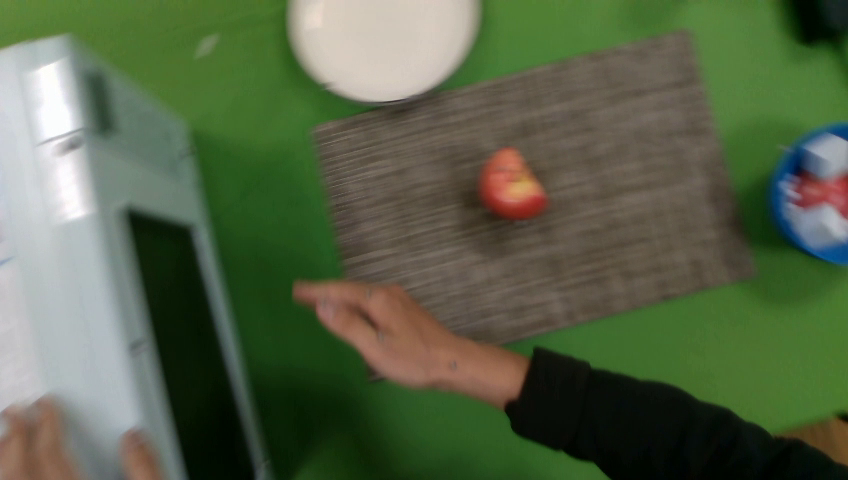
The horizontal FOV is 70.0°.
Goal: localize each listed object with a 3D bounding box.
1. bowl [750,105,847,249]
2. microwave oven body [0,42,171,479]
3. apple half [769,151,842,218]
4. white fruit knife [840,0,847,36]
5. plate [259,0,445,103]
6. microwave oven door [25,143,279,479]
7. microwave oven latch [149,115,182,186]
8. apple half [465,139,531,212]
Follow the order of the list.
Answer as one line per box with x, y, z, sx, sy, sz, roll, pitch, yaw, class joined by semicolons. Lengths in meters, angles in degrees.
0.419;-0.062;0.658;0.151;0.077;0.151;0;87;1;bowl
-0.381;0.113;0.558;0.326;0.260;0.441;-18;87;-1;microwave oven body
0.419;-0.062;0.654;0.081;0.033;0.081;0;86;2;apple half
0.465;-0.252;0.663;0.016;0.027;0.208;-23;104;16;white fruit knife
-0.079;-0.255;0.692;0.208;0.039;0.207;0;87;0;plate
-0.229;0.106;0.553;0.039;0.244;0.355;-19;87;-1;microwave oven door
-0.294;-0.094;0.665;0.030;0.029;0.079;-19;87;-1;microwave oven latch
0.073;-0.062;0.659;0.053;0.074;0.081;-37;91;4;apple half
